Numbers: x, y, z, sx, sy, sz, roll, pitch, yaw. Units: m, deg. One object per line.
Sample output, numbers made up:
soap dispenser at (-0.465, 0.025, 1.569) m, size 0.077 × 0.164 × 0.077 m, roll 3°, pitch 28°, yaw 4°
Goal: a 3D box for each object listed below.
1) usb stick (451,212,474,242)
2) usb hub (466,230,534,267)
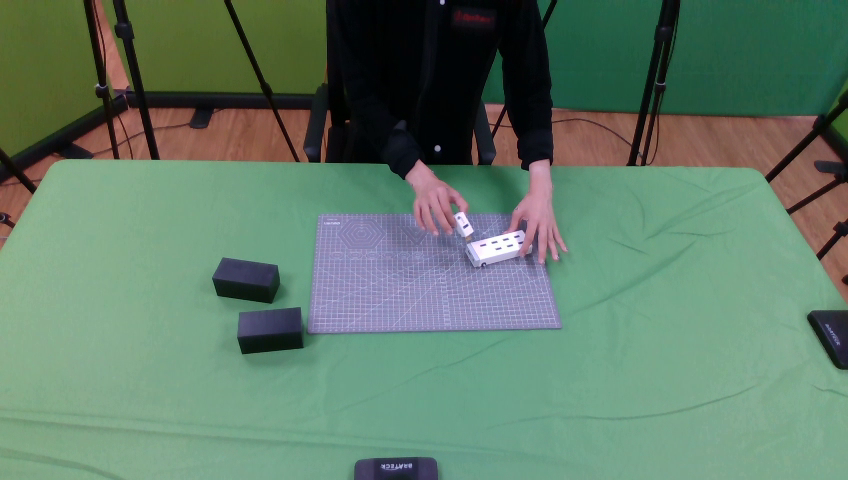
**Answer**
usb stick at (0.076, -0.024, 1.146) m, size 0.021 × 0.059 × 0.027 m, roll -34°, pitch 17°, yaw -21°
usb hub at (0.148, 0.017, 1.185) m, size 0.125 × 0.025 × 0.049 m, roll -14°, pitch 50°, yaw -16°
